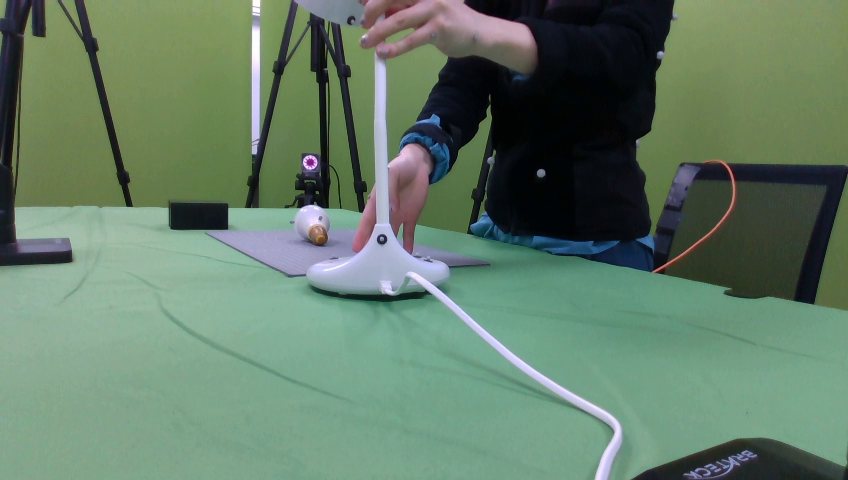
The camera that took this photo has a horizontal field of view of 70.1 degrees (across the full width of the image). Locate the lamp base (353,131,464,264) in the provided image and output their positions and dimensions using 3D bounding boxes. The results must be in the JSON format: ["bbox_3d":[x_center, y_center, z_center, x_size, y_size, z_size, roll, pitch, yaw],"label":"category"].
[{"bbox_3d":[-0.015,-0.062,0.851,0.161,0.180,0.178,-1,10,-20],"label":"lamp base"}]
